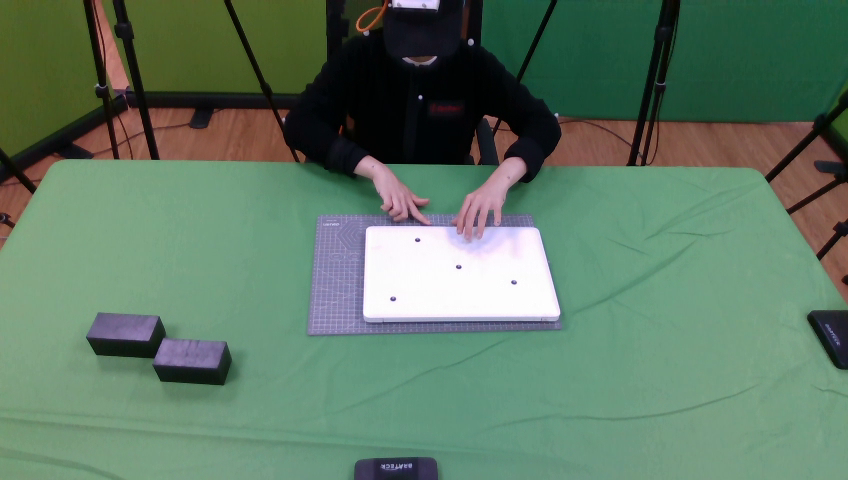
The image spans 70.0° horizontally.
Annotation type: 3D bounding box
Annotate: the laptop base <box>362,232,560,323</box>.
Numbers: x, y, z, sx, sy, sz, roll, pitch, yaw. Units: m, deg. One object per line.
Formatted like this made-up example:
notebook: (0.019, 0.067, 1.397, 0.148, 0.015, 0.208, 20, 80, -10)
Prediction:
laptop base: (0.064, 0.063, 1.143, 0.355, 0.023, 0.234, 0, 42, -4)

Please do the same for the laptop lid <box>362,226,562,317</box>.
laptop lid: (0.064, 0.053, 1.136, 0.357, 0.013, 0.240, 1, 44, -3)
